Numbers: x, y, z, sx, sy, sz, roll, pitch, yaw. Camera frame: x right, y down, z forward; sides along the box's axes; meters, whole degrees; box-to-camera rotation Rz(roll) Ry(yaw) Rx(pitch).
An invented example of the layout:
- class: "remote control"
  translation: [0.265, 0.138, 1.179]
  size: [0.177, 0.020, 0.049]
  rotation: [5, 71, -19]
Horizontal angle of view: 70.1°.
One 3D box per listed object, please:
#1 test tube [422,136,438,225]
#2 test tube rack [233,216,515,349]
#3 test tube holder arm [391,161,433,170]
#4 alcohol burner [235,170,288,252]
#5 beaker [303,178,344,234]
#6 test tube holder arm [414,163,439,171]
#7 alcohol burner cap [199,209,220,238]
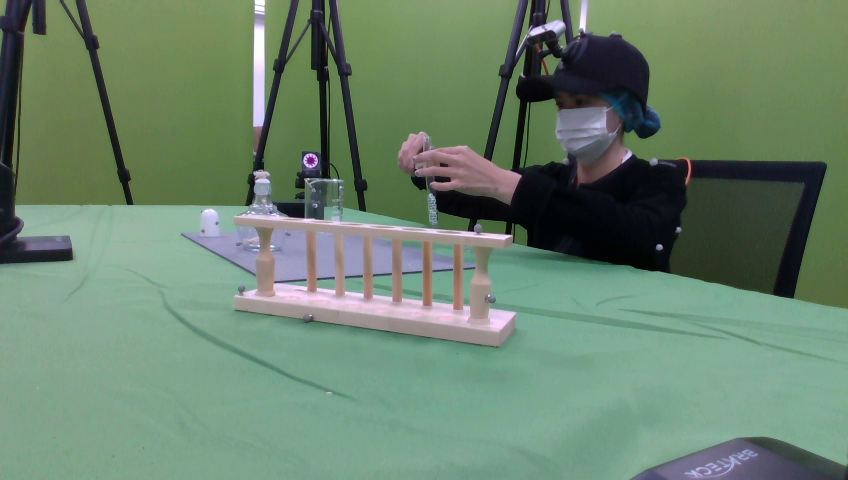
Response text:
- class: "test tube"
  translation: [0.010, -0.099, 1.016]
  size: [0.017, 0.150, 0.017]
  rotation: [-5, 7, 1]
- class: "test tube rack"
  translation: [-0.045, 0.029, 0.526]
  size: [0.241, 0.085, 0.067]
  rotation: [5, 8, 19]
- class: "test tube holder arm"
  translation: [-0.024, -0.132, 1.073]
  size: [0.013, 0.015, 0.177]
  rotation: [11, 3, -25]
- class: "alcohol burner"
  translation: [-0.236, -0.042, 0.882]
  size: [0.078, 0.119, 0.078]
  rotation: [2, 9, 0]
- class: "beaker"
  translation: [-0.189, -0.063, 1.119]
  size: [0.073, 0.100, 0.084]
  rotation: [6, 9, 28]
- class: "test tube holder arm"
  translation: [0.000, -0.126, 1.036]
  size: [0.010, 0.015, 0.087]
  rotation: [10, 3, -29]
- class: "alcohol burner cap"
  translation: [-0.356, -0.027, 1.002]
  size: [0.034, 0.048, 0.034]
  rotation: [2, 7, 0]
